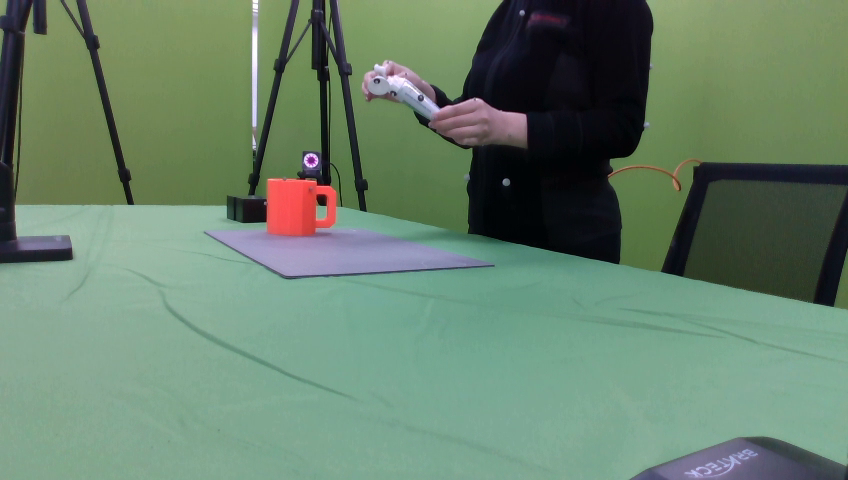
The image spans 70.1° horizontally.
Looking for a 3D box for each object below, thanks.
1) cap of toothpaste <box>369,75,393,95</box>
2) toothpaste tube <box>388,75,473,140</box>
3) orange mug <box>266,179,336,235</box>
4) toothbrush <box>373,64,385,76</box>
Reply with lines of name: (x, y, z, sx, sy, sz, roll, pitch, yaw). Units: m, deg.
cap of toothpaste: (-0.066, -0.240, 0.932, 0.037, 0.011, 0.037, -5, -34, -3)
toothpaste tube: (0.009, -0.211, 0.974, 0.166, 0.034, 0.055, 31, 20, -18)
orange mug: (-0.222, -0.062, 1.094, 0.127, 0.101, 0.083, -5, 10, -22)
toothbrush: (-0.072, -0.286, 1.055, 0.017, 0.014, 0.182, 6, 8, 0)
